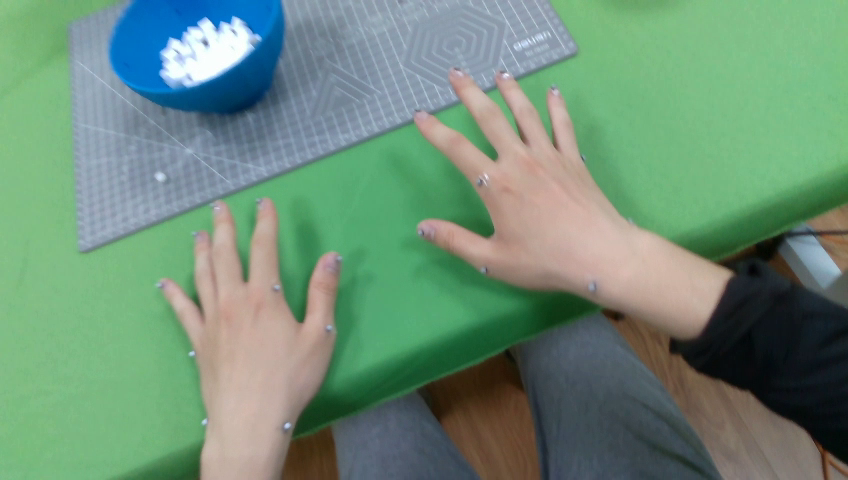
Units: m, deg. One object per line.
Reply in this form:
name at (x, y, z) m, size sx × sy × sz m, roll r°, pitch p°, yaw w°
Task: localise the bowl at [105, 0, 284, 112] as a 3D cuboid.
bowl at (-0.183, -0.165, 0.526) m, size 0.151 × 0.077 × 0.150 m, roll -5°, pitch 64°, yaw 10°
